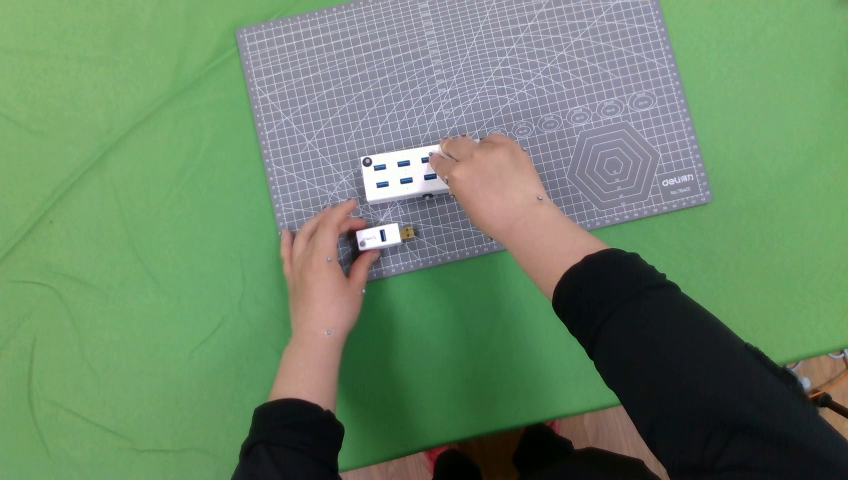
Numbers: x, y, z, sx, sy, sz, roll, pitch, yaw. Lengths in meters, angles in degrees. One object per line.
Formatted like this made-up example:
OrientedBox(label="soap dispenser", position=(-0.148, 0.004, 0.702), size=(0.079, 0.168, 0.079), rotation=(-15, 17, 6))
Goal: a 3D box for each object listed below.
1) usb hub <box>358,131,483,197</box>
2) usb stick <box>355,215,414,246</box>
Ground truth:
OrientedBox(label="usb hub", position=(-0.004, -0.080, 0.629), size=(0.125, 0.025, 0.049), rotation=(-9, 85, 1))
OrientedBox(label="usb stick", position=(-0.040, -0.011, 0.625), size=(0.059, 0.027, 0.021), rotation=(-10, 78, -1))
